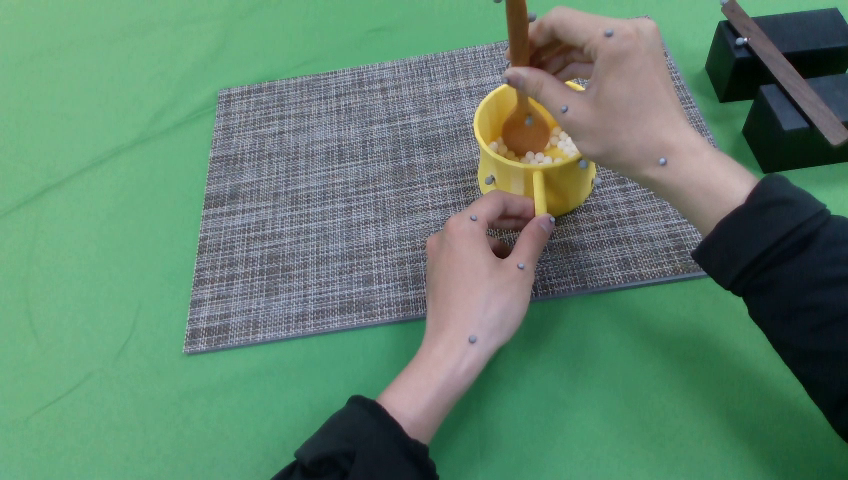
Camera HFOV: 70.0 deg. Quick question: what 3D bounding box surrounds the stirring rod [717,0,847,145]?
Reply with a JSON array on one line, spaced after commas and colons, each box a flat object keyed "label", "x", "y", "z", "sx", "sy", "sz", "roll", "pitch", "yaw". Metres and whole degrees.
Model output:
[{"label": "stirring rod", "x": 0.281, "y": -0.141, "z": 0.483, "sx": 0.014, "sy": 0.006, "sz": 0.174, "roll": -36, "pitch": 51, "yaw": 28}]

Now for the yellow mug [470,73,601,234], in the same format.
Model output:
[{"label": "yellow mug", "x": 0.089, "y": -0.065, "z": 0.484, "sx": 0.100, "sy": 0.064, "sz": 0.129, "roll": -2, "pitch": 57, "yaw": 7}]

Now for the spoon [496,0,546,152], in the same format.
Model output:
[{"label": "spoon", "x": 0.067, "y": -0.111, "z": 0.434, "sx": 0.041, "sy": 0.195, "sz": 0.021, "roll": 6, "pitch": 76, "yaw": 12}]
